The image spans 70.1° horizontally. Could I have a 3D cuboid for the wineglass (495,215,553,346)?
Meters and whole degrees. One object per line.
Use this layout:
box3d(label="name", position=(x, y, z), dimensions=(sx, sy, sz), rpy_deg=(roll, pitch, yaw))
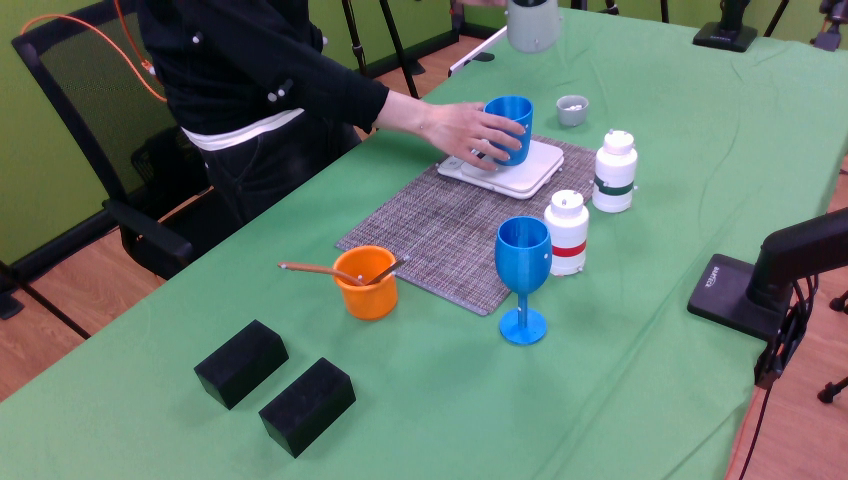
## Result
box3d(label="wineglass", position=(0.127, 0.055, 0.770), dimensions=(0.074, 0.173, 0.073), rpy_deg=(-4, 40, 4))

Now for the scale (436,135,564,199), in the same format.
box3d(label="scale", position=(0.137, -0.142, 1.101), dimensions=(0.199, 0.032, 0.149), rpy_deg=(22, 48, 30))

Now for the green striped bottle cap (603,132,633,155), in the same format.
box3d(label="green striped bottle cap", position=(0.302, -0.149, 0.939), dimensions=(0.044, 0.020, 0.044), rpy_deg=(-3, 40, 3))

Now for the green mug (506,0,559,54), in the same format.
box3d(label="green mug", position=(0.179, -0.398, 1.050), dimensions=(0.092, 0.105, 0.124), rpy_deg=(-24, 60, -1))

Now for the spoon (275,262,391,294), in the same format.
box3d(label="spoon", position=(-0.120, 0.050, 0.830), dimensions=(0.041, 0.195, 0.021), rpy_deg=(31, 97, 45))

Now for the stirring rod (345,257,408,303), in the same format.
box3d(label="stirring rod", position=(-0.067, 0.056, 0.814), dimensions=(0.014, 0.175, 0.006), rpy_deg=(-22, 81, -37))

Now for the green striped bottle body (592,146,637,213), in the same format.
box3d(label="green striped bottle body", position=(0.307, -0.108, 0.976), dimensions=(0.063, 0.120, 0.063), rpy_deg=(-4, 40, 4))

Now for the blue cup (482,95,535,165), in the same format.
box3d(label="blue cup", position=(0.148, -0.186, 1.052), dimensions=(0.092, 0.101, 0.092), rpy_deg=(-6, 43, 6))

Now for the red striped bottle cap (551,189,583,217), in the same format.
box3d(label="red striped bottle cap", position=(0.200, -0.052, 0.843), dimensions=(0.044, 0.018, 0.044), rpy_deg=(-2, 42, 2))

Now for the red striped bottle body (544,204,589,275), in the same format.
box3d(label="red striped bottle body", position=(0.206, -0.011, 0.877), dimensions=(0.063, 0.120, 0.062), rpy_deg=(-5, 41, 4))

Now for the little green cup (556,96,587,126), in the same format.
box3d(label="little green cup", position=(0.295, -0.258, 1.214), dimensions=(0.061, 0.039, 0.061), rpy_deg=(-5, 41, 5))
